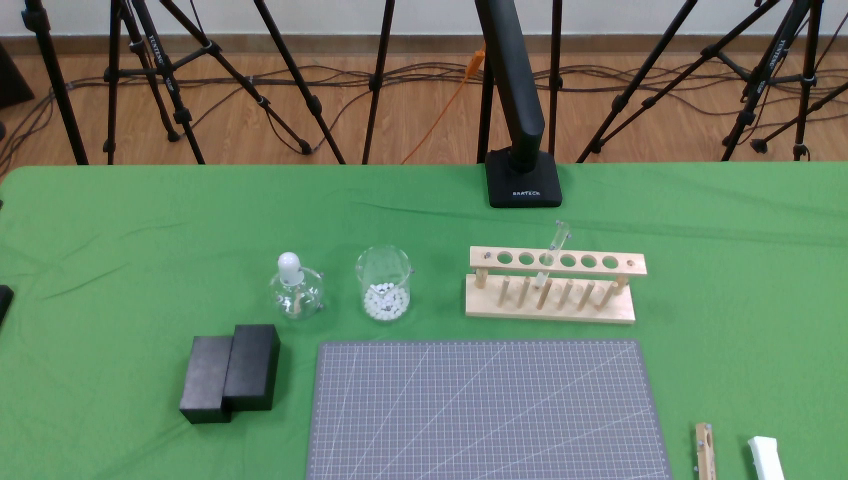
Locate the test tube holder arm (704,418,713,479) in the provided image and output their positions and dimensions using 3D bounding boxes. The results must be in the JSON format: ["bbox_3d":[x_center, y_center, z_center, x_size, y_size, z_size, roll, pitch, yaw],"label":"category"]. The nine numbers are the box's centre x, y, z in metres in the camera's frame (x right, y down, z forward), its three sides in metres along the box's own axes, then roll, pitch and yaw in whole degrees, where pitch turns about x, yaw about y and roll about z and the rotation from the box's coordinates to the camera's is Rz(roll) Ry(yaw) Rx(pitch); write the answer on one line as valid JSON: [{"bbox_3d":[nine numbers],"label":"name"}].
[{"bbox_3d":[0.353,0.269,0.761,0.010,0.015,0.087,28,53,-20],"label":"test tube holder arm"}]

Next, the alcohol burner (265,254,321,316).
[{"bbox_3d":[-0.183,0.054,0.839,0.078,0.120,0.077,2,52,-2],"label":"alcohol burner"}]

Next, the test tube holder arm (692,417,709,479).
[{"bbox_3d":[0.341,0.302,0.734,0.013,0.015,0.177,27,53,-21],"label":"test tube holder arm"}]

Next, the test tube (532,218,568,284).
[{"bbox_3d":[0.171,0.019,0.831,0.017,0.151,0.017,3,56,-3],"label":"test tube"}]

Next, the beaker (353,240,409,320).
[{"bbox_3d":[-0.058,0.062,0.847,0.074,0.101,0.083,2,55,0],"label":"beaker"}]

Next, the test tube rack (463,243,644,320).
[{"bbox_3d":[0.180,0.060,0.864,0.242,0.086,0.066,3,55,0],"label":"test tube rack"}]

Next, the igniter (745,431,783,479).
[{"bbox_3d":[0.416,0.357,0.692,0.057,0.025,0.274,10,54,-6],"label":"igniter"}]

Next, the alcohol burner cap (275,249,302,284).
[{"bbox_3d":[-0.183,0.033,0.810,0.034,0.048,0.033,1,48,-1],"label":"alcohol burner cap"}]
